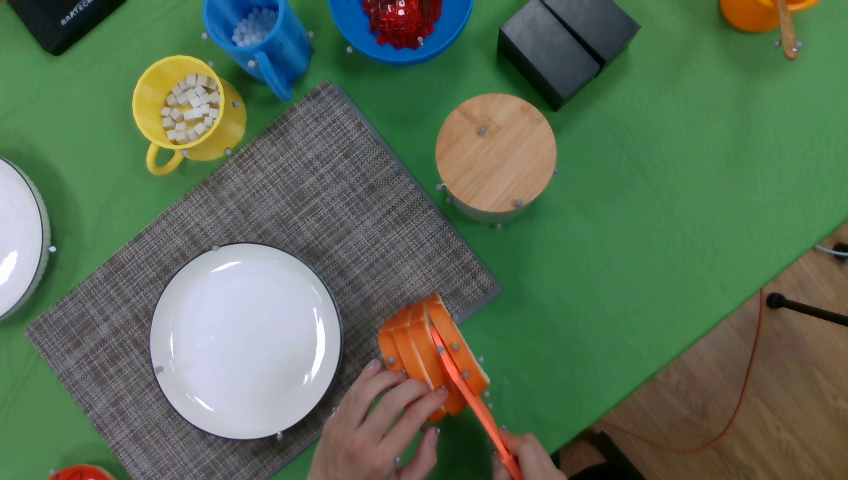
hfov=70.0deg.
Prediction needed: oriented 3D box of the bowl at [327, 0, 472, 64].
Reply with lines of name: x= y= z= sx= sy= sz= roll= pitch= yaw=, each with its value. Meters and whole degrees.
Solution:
bowl: x=-0.022 y=-0.252 z=0.645 sx=0.151 sy=0.077 sz=0.151 roll=0 pitch=88 yaw=4

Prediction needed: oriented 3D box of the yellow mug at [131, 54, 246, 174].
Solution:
yellow mug: x=-0.262 y=-0.129 z=0.660 sx=0.100 sy=0.064 sz=0.131 roll=29 pitch=90 yaw=6

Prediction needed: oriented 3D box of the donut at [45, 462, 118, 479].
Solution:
donut: x=-0.374 y=0.292 z=0.658 sx=0.099 sy=0.048 sz=0.099 roll=0 pitch=86 yaw=2

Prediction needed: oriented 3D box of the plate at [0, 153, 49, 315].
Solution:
plate: x=-0.520 y=-0.005 z=0.684 sx=0.207 sy=0.039 sz=0.207 roll=0 pitch=88 yaw=3

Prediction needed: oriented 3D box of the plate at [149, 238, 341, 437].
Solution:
plate: x=-0.189 y=0.103 z=0.654 sx=0.209 sy=0.038 sz=0.208 roll=0 pitch=87 yaw=4

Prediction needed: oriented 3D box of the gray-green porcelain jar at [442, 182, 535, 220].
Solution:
gray-green porcelain jar: x=0.068 y=-0.075 z=0.607 sx=0.106 sy=0.127 sz=0.105 roll=0 pitch=86 yaw=3

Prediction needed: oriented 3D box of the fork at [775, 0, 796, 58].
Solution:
fork: x=0.339 y=-0.229 z=0.585 sx=0.028 sy=0.019 sz=0.206 roll=23 pitch=45 yaw=-1

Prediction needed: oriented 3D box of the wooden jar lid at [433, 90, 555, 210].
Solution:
wooden jar lid: x=0.063 y=-0.080 z=0.545 sx=0.108 sy=0.021 sz=0.108 roll=0 pitch=87 yaw=1

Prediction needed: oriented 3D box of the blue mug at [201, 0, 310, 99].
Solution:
blue mug: x=-0.168 y=-0.206 z=0.638 sx=0.082 sy=0.106 sz=0.116 roll=-19 pitch=86 yaw=3

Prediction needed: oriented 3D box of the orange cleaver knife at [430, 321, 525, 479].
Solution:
orange cleaver knife: x=0.057 y=0.167 z=0.574 sx=0.012 sy=0.076 sz=0.213 roll=-27 pitch=113 yaw=4

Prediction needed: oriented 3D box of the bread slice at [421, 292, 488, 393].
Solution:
bread slice: x=0.031 y=0.100 z=0.598 sx=0.019 sy=0.131 sz=0.105 roll=-31 pitch=88 yaw=-2

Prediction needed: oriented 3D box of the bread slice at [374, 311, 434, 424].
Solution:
bread slice: x=-0.019 y=0.123 z=0.603 sx=0.018 sy=0.134 sz=0.107 roll=-26 pitch=86 yaw=1
